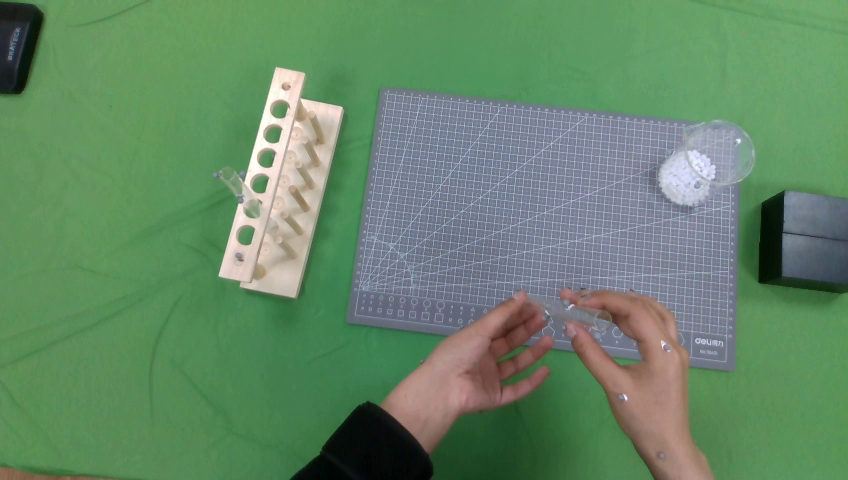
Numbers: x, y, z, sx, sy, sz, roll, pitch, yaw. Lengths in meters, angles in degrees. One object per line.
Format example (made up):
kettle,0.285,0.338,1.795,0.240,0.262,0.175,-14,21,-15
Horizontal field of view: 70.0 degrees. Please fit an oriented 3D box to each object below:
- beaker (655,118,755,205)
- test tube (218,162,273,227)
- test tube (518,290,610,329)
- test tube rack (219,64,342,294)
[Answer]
beaker,0.312,-0.087,0.692,0.083,0.100,0.074,38,80,9
test tube,-0.185,-0.044,0.640,0.017,0.151,0.017,0,72,1
test tube,0.114,0.057,0.521,0.017,0.150,0.017,0,91,-14
test tube rack,-0.159,-0.066,0.695,0.067,0.085,0.241,12,79,2
